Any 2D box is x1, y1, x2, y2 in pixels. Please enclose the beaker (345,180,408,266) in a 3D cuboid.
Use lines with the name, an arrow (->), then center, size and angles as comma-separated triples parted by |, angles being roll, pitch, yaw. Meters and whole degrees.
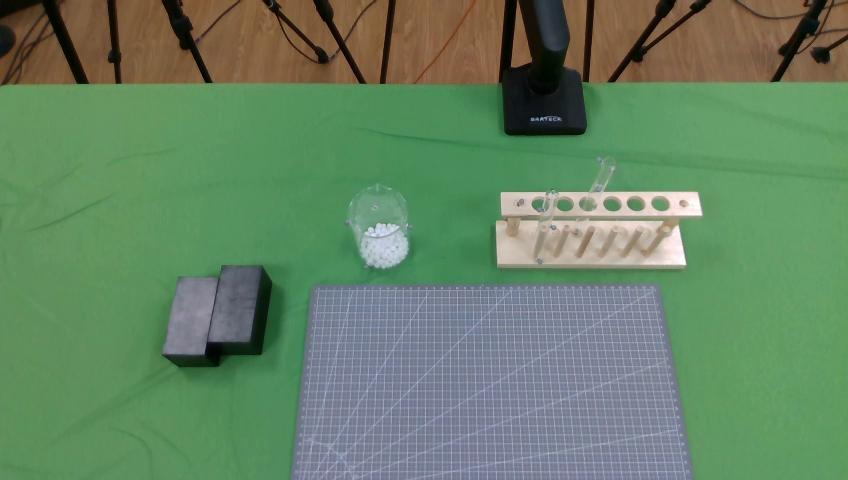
beaker -> -0.057, -0.018, 0.773 | 0.074, 0.101, 0.083 | -4, 62, -1

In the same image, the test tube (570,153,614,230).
test tube -> 0.203, -0.054, 0.739 | 0.017, 0.151, 0.017 | 1, 60, -1

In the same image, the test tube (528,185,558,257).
test tube -> 0.142, -0.020, 0.728 | 0.017, 0.152, 0.017 | -1, 60, 1

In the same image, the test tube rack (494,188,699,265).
test tube rack -> 0.214, -0.016, 0.774 | 0.242, 0.086, 0.066 | 0, 63, 1
